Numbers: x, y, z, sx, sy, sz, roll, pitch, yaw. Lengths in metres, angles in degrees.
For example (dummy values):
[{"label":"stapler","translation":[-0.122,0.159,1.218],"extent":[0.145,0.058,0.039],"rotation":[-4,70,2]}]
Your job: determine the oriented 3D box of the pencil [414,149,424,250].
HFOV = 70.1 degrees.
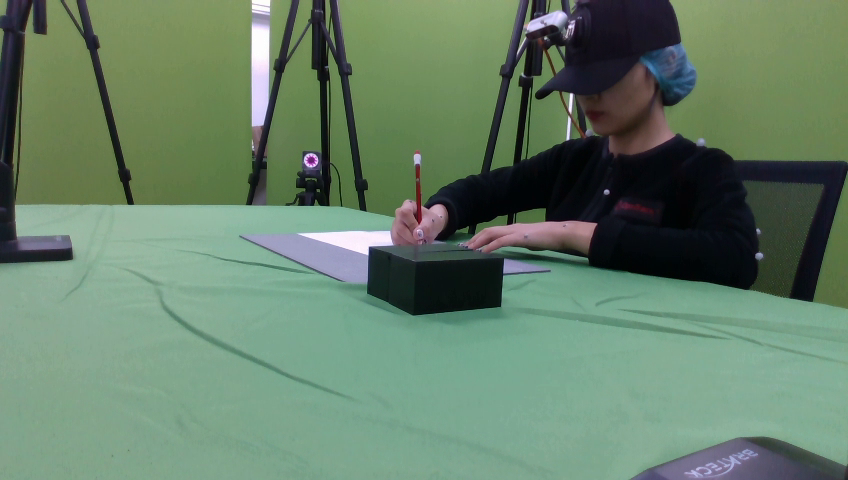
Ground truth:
[{"label":"pencil","translation":[-0.007,-0.069,0.972],"extent":[0.012,0.193,0.012],"rotation":[-2,-30,-1]}]
